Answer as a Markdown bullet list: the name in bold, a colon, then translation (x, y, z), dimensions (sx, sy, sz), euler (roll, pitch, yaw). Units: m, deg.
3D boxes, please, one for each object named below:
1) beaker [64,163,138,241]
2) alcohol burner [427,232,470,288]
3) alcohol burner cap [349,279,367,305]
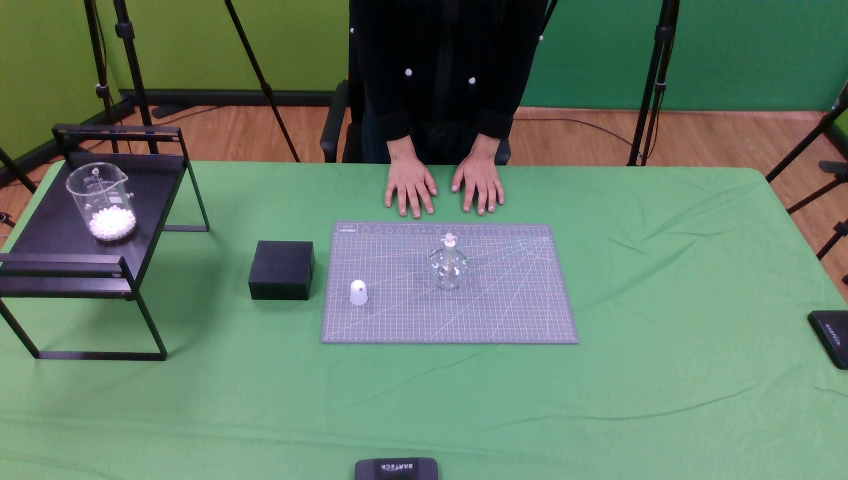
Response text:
- **beaker**: translation (-0.478, -0.055, 0.910), dimensions (0.084, 0.101, 0.073), euler (-9, 48, -13)
- **alcohol burner**: translation (0.045, 0.032, 1.099), dimensions (0.078, 0.120, 0.077), euler (0, 46, 0)
- **alcohol burner cap**: translation (-0.118, 0.090, 1.082), dimensions (0.034, 0.048, 0.033), euler (1, 47, -1)
